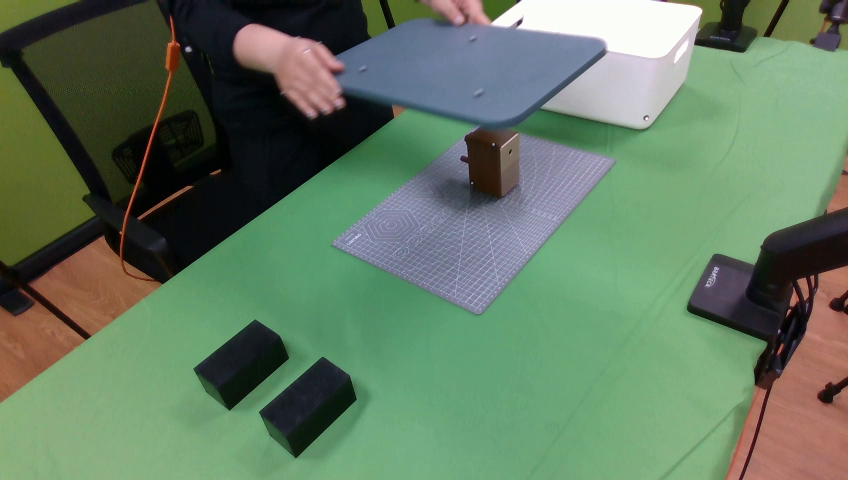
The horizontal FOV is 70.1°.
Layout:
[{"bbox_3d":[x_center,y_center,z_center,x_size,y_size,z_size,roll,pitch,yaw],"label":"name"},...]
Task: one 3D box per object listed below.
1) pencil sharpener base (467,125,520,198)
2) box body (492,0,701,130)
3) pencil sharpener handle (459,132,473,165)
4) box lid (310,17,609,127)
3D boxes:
[{"bbox_3d":[0.119,-0.138,1.044,0.076,0.107,0.061,23,49,32],"label":"pencil sharpener base"},{"bbox_3d":[0.345,-0.379,1.257,0.361,0.161,0.255,20,48,29],"label":"box body"},{"bbox_3d":[0.077,-0.163,1.062,0.030,0.068,0.036,23,40,32],"label":"pencil sharpener handle"},{"bbox_3d":[0.042,-0.250,0.852,0.368,0.015,0.264,22,48,35],"label":"box lid"}]
